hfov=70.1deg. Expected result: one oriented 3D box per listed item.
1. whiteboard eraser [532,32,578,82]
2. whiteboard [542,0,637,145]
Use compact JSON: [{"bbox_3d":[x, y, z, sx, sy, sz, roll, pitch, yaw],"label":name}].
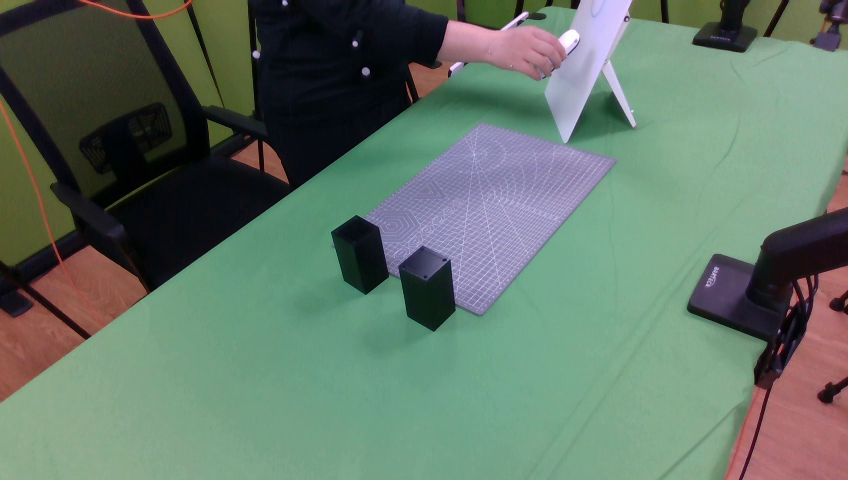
[{"bbox_3d":[0.235,-0.330,1.086,0.101,0.019,0.041,-45,36,22],"label":"whiteboard eraser"},{"bbox_3d":[0.366,-0.352,1.160,0.144,0.305,0.216,9,39,-10],"label":"whiteboard"}]
